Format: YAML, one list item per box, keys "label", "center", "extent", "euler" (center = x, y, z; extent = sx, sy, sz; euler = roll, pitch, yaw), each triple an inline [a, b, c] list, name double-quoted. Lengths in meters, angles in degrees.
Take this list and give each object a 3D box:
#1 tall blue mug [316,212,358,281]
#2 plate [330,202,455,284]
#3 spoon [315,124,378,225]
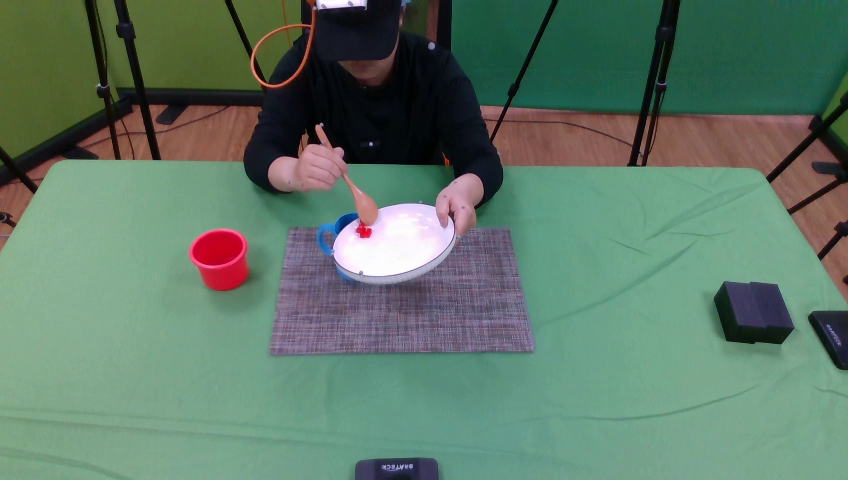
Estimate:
- label: "tall blue mug"
  center: [-0.142, 0.014, 1.109]
  extent: [0.107, 0.108, 0.077]
  euler: [-5, 47, -9]
- label: "plate"
  center: [-0.050, 0.007, 0.999]
  extent: [0.207, 0.039, 0.206]
  euler: [-8, 34, 6]
- label: "spoon"
  center: [-0.136, -0.111, 1.040]
  extent: [0.041, 0.021, 0.194]
  euler: [-39, 103, -27]
